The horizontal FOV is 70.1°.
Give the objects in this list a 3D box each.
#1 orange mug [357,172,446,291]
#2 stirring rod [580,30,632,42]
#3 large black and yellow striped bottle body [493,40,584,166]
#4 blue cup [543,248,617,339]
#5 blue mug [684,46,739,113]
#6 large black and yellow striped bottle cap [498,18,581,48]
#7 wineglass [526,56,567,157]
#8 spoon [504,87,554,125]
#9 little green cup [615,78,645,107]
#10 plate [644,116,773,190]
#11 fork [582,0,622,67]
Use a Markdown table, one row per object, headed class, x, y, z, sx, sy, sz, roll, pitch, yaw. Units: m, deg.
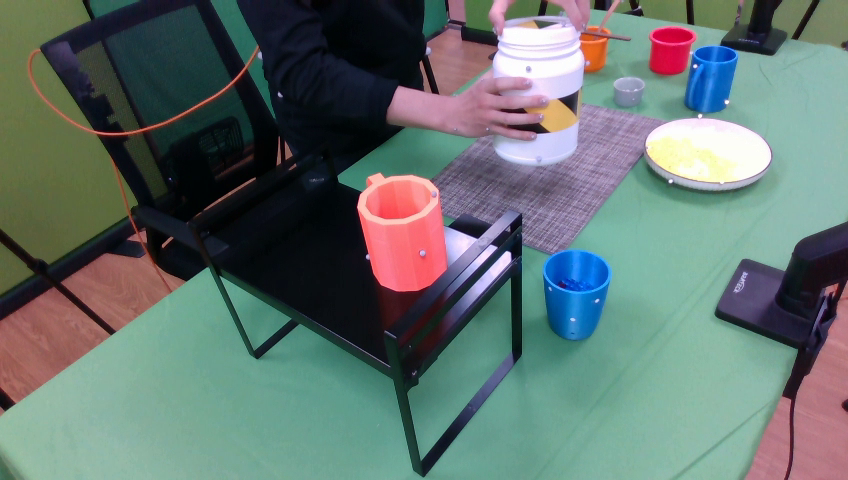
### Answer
| class | x | y | z | sx | sy | sz | roll | pitch | yaw |
| --- | --- | --- | --- | --- | --- | --- | --- | --- | --- |
| orange mug | -0.030 | -0.019 | 0.668 | 0.084 | 0.101 | 0.125 | -23 | 47 | -16 |
| stirring rod | 0.381 | -0.463 | 1.356 | 0.175 | 0.006 | 0.014 | 22 | 48 | 30 |
| large black and yellow striped bottle body | 0.168 | -0.219 | 0.901 | 0.131 | 0.184 | 0.130 | -3 | 35 | 3 |
| blue cup | 0.199 | 0.076 | 0.797 | 0.092 | 0.100 | 0.092 | -4 | 39 | 4 |
| blue mug | 0.556 | -0.310 | 1.190 | 0.117 | 0.106 | 0.081 | -32 | 46 | -25 |
| large black and yellow striped bottle cap | 0.162 | -0.293 | 0.851 | 0.115 | 0.019 | 0.114 | -4 | 29 | 3 |
| wineglass | 0.222 | -0.241 | 1.102 | 0.074 | 0.173 | 0.073 | -5 | 41 | 5 |
| spoon | 0.227 | -0.285 | 1.269 | 0.041 | 0.022 | 0.194 | 2 | 36 | 44 |
| little green cup | 0.426 | -0.306 | 1.257 | 0.061 | 0.039 | 0.061 | -4 | 40 | 4 |
| plate | 0.495 | -0.149 | 1.063 | 0.209 | 0.038 | 0.208 | -5 | 40 | 4 |
| fork | 0.409 | -0.484 | 1.381 | 0.028 | 0.019 | 0.207 | 37 | 101 | 45 |
